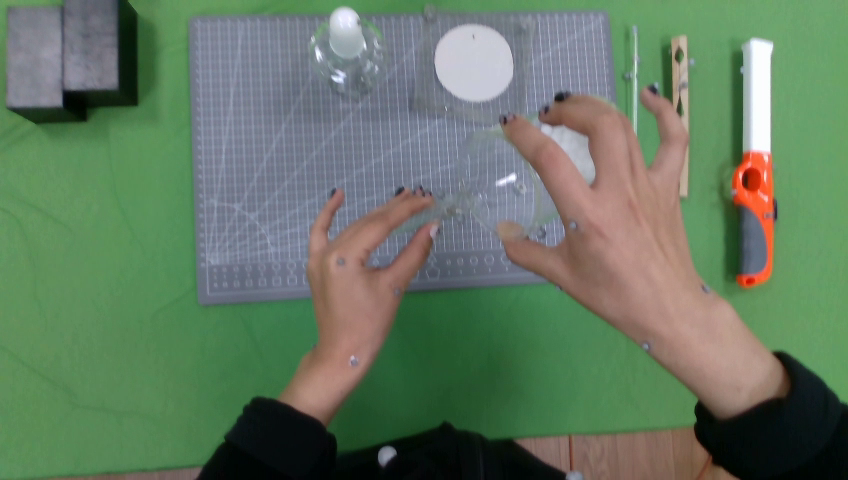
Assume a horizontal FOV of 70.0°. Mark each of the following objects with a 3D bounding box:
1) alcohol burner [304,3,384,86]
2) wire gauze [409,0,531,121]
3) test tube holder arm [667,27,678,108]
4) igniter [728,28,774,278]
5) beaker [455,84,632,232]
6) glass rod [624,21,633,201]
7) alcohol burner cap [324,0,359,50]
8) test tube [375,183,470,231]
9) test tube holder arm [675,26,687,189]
[{"bbox_3d":[-0.078,-0.193,0.581,0.078,0.119,0.078,0,86,-3],"label":"alcohol burner"},{"bbox_3d":[0.050,-0.197,0.648,0.125,0.011,0.121,8,86,-6],"label":"wire gauze"},{"bbox_3d":[0.275,-0.190,0.670,0.010,0.015,0.087,-2,87,29],"label":"test tube holder arm"},{"bbox_3d":[0.360,-0.095,0.666,0.057,0.025,0.276,4,85,-16],"label":"igniter"},{"bbox_3d":[0.080,-0.057,0.402,0.100,0.084,0.074,-26,92,-28],"label":"beaker"},{"bbox_3d":[0.224,-0.142,0.664,0.008,0.008,0.199,2,88,-6],"label":"glass rod"},{"bbox_3d":[-0.075,-0.197,0.546,0.034,0.048,0.033,1,79,-6],"label":"alcohol burner cap"},{"bbox_3d":[-0.006,-0.024,0.480,0.017,0.149,0.017,3,82,-26],"label":"test tube"},{"bbox_3d":[0.282,-0.146,0.665,0.013,0.015,0.178,-3,86,29],"label":"test tube holder arm"}]
